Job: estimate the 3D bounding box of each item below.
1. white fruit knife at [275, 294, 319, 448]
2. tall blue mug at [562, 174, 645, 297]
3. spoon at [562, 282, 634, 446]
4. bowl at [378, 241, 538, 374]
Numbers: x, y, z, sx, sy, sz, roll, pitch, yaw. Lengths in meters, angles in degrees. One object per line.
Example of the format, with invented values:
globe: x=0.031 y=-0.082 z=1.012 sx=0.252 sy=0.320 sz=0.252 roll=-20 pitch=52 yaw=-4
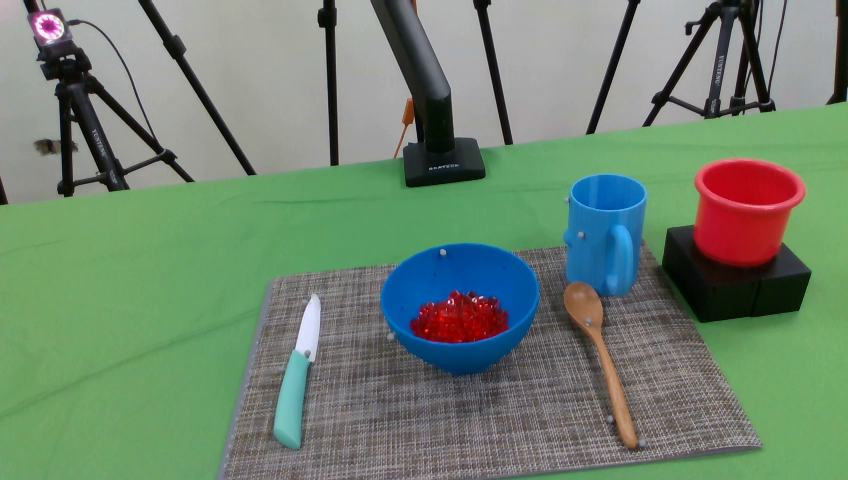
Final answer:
white fruit knife: x=-0.125 y=0.120 z=0.613 sx=0.027 sy=0.016 sz=0.205 roll=19 pitch=31 yaw=-15
tall blue mug: x=0.200 y=0.001 z=0.641 sx=0.078 sy=0.109 sz=0.106 roll=-22 pitch=38 yaw=-22
spoon: x=0.166 y=0.108 z=0.571 sx=0.042 sy=0.022 sz=0.192 roll=9 pitch=34 yaw=-8
bowl: x=0.035 y=0.077 z=0.589 sx=0.151 sy=0.077 sz=0.150 roll=-5 pitch=35 yaw=4
